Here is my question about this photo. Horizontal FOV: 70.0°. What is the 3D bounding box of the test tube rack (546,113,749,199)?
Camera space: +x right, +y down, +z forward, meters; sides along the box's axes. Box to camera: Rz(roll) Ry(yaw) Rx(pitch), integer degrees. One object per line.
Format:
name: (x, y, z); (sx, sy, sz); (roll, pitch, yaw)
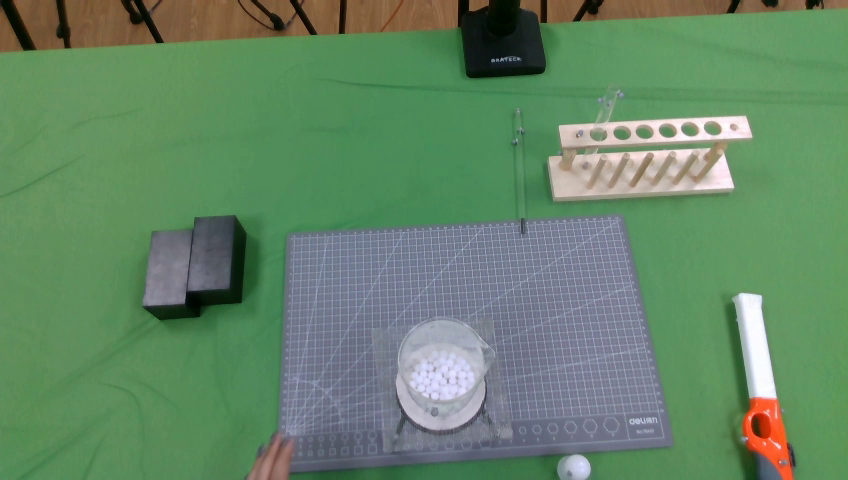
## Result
test tube rack: (0.292, -0.110, 0.803); (0.242, 0.086, 0.066); (-3, 65, -1)

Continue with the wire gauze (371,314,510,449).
wire gauze: (0.014, 0.135, 0.590); (0.125, 0.011, 0.120); (-7, 63, -1)

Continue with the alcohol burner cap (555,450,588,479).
alcohol burner cap: (0.165, 0.247, 0.665); (0.034, 0.048, 0.033); (0, 64, 1)

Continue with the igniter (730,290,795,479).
igniter: (0.389, 0.190, 0.698); (0.057, 0.025, 0.274); (8, 66, -7)

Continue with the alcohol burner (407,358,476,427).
alcohol burner: (0.020, 0.163, 0.661); (0.078, 0.120, 0.077); (1, 64, -1)

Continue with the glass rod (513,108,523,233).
glass rod: (0.131, -0.100, 0.840); (0.008, 0.008, 0.198); (1, 67, 1)

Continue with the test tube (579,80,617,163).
test tube: (0.218, -0.145, 0.765); (0.017, 0.151, 0.017); (-1, 62, 2)

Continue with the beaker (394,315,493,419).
beaker: (0.017, 0.118, 0.545); (0.084, 0.101, 0.073); (-8, 65, -3)

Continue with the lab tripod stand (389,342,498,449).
lab tripod stand: (0.015, 0.166, 0.649); (0.148, 0.132, 0.147); (-1, 64, 2)
